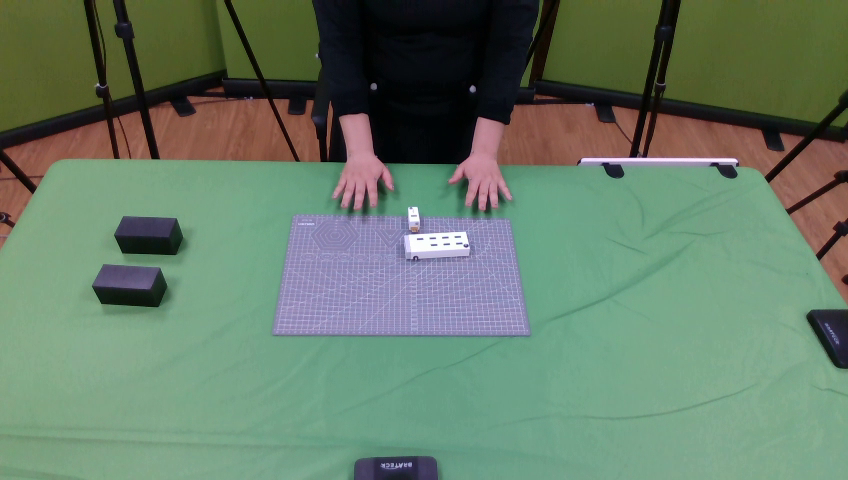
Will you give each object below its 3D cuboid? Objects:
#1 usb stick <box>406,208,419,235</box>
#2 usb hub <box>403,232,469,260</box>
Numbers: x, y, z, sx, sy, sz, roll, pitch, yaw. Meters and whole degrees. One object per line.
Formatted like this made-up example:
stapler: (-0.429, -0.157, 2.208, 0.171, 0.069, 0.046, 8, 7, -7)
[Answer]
usb stick: (-0.023, -0.037, 1.226, 0.021, 0.027, 0.059, 0, 49, -9)
usb hub: (0.023, 0.012, 1.181, 0.125, 0.025, 0.049, -3, 46, -7)
